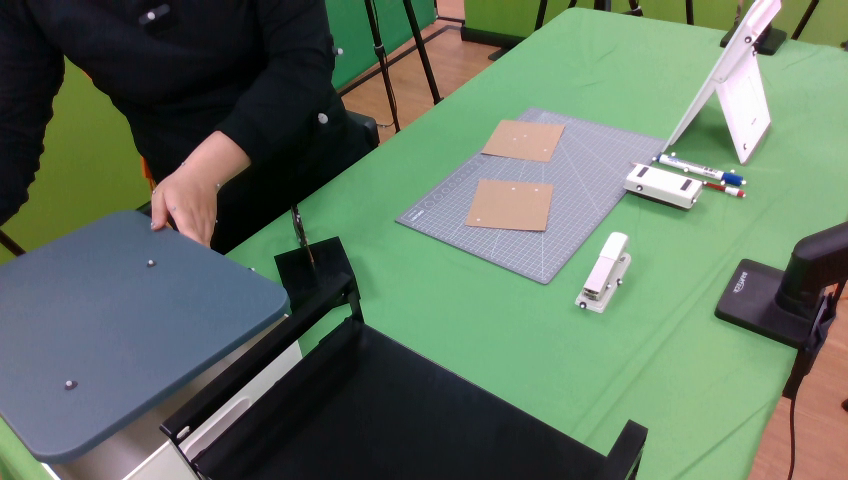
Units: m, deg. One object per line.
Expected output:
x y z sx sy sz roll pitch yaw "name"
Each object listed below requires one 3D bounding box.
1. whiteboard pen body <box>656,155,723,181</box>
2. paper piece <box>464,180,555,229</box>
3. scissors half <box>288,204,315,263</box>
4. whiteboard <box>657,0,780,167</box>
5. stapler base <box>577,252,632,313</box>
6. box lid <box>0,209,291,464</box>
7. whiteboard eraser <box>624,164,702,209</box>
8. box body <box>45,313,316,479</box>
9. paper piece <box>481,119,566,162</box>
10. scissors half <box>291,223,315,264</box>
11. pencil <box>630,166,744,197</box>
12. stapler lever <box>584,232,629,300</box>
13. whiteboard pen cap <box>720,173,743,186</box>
0.475 -0.123 1.052 0.139 0.017 0.017 24 50 32 "whiteboard pen body"
0.149 -0.062 1.035 0.137 0.009 0.136 5 37 16 "paper piece"
-0.191 -0.010 0.944 0.013 0.040 0.173 -18 38 -15 "scissors half"
0.571 -0.272 1.038 0.143 0.306 0.218 37 54 17 "whiteboard"
0.264 0.051 0.875 0.041 0.024 0.131 16 47 30 "stapler base"
-0.349 0.072 0.658 0.368 0.015 0.264 21 42 34 "box lid"
0.396 -0.087 1.003 0.112 0.042 0.056 22 48 31 "whiteboard eraser"
-0.340 0.162 0.728 0.361 0.161 0.255 23 48 31 "box body"
0.197 -0.199 1.188 0.135 0.004 0.135 10 44 22 "paper piece"
-0.188 0.007 0.955 0.013 0.040 0.174 -22 22 -12 "scissors half"
0.447 -0.103 1.039 0.192 0.012 0.012 21 48 30 "pencil"
0.261 0.034 0.858 0.026 0.040 0.118 16 46 30 "stapler lever"
0.519 -0.103 1.020 0.033 0.018 0.018 23 49 30 "whiteboard pen cap"
